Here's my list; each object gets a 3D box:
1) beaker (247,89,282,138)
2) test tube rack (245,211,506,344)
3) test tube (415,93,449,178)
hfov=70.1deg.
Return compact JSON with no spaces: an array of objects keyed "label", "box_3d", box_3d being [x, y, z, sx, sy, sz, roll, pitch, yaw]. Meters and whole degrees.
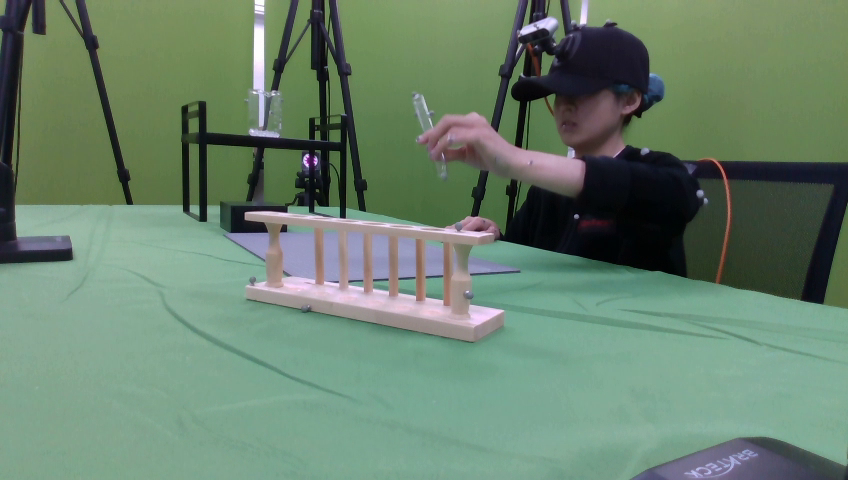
[{"label":"beaker","box_3d":[-0.347,-0.274,1.320,0.074,0.100,0.083,-1,9,-27]},{"label":"test tube rack","box_3d":[-0.049,0.025,0.547,0.241,0.085,0.067,7,8,28]},{"label":"test tube","box_3d":[0.010,-0.139,0.795,0.017,0.149,0.017,-10,-35,-7]}]
